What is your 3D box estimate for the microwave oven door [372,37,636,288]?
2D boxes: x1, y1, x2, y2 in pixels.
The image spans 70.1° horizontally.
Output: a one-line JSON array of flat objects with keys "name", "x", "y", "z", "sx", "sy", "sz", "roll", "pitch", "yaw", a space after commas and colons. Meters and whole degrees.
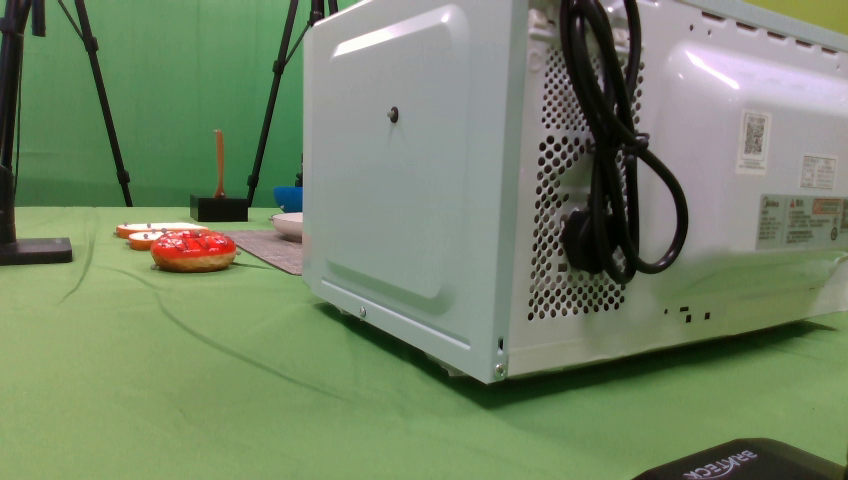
[{"name": "microwave oven door", "x": 0.110, "y": -0.080, "z": 0.686, "sx": 0.358, "sy": 0.243, "sz": 0.039, "roll": -2, "pitch": 9, "yaw": -33}]

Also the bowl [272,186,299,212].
[{"name": "bowl", "x": -0.254, "y": -0.075, "z": 1.318, "sx": 0.151, "sy": 0.077, "sz": 0.151, "roll": 2, "pitch": 7, "yaw": 0}]

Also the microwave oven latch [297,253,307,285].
[{"name": "microwave oven latch", "x": -0.082, "y": 0.027, "z": 0.582, "sx": 0.079, "sy": 0.029, "sz": 0.030, "roll": -1, "pitch": 7, "yaw": -32}]

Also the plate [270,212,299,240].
[{"name": "plate", "x": -0.162, "y": -0.022, "z": 1.058, "sx": 0.208, "sy": 0.039, "sz": 0.207, "roll": 2, "pitch": 7, "yaw": 0}]

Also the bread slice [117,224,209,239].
[{"name": "bread slice", "x": -0.443, "y": -0.015, "z": 1.022, "sx": 0.132, "sy": 0.019, "sz": 0.104, "roll": -4, "pitch": 9, "yaw": -45}]

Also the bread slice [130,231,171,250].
[{"name": "bread slice", "x": -0.370, "y": 0.001, "z": 0.916, "sx": 0.135, "sy": 0.018, "sz": 0.106, "roll": -1, "pitch": 7, "yaw": -32}]

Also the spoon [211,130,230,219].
[{"name": "spoon", "x": -0.436, "y": -0.138, "z": 1.296, "sx": 0.042, "sy": 0.193, "sz": 0.021, "roll": -3, "pitch": 23, "yaw": -27}]

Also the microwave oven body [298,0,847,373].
[{"name": "microwave oven body", "x": 0.151, "y": -0.055, "z": 0.543, "sx": 0.444, "sy": 0.260, "sz": 0.324, "roll": -1, "pitch": 7, "yaw": -33}]

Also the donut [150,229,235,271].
[{"name": "donut", "x": -0.285, "y": 0.013, "z": 0.747, "sx": 0.099, "sy": 0.048, "sz": 0.099, "roll": 3, "pitch": 10, "yaw": 0}]
